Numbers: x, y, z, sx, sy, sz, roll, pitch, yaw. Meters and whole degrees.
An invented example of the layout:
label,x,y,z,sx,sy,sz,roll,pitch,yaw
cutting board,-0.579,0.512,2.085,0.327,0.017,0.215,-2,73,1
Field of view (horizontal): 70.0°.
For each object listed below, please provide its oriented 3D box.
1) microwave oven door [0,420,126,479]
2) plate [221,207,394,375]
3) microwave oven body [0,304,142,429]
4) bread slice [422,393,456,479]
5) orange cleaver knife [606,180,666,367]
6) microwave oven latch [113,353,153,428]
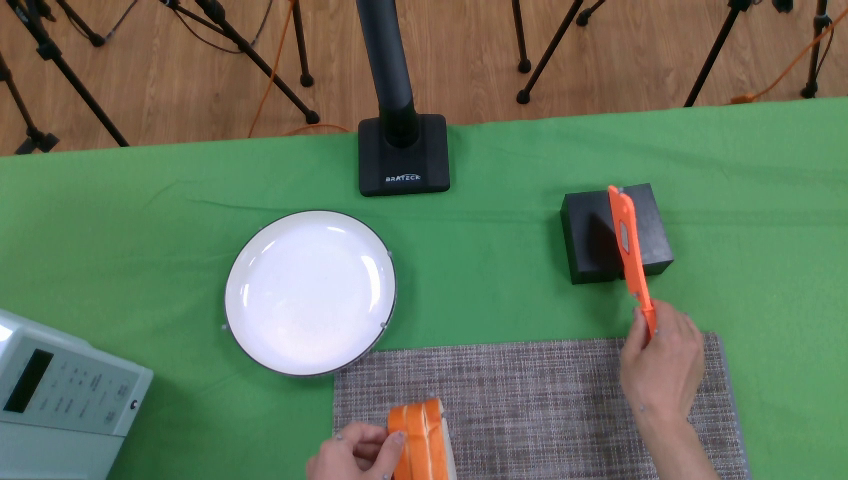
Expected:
label,x,y,z,sx,sy,sz,roll,pitch,yaw
microwave oven door,-0.415,0.330,0.525,0.039,0.245,0.354,16,71,10
plate,-0.137,0.061,0.736,0.207,0.039,0.206,-1,70,3
microwave oven body,-0.541,0.255,0.566,0.325,0.262,0.439,16,72,9
bread slice,0.019,0.227,0.625,0.018,0.107,0.133,-11,70,1
orange cleaver knife,0.233,0.035,0.676,0.012,0.077,0.211,-14,96,2
microwave oven latch,-0.339,0.171,0.688,0.030,0.030,0.079,18,72,9
